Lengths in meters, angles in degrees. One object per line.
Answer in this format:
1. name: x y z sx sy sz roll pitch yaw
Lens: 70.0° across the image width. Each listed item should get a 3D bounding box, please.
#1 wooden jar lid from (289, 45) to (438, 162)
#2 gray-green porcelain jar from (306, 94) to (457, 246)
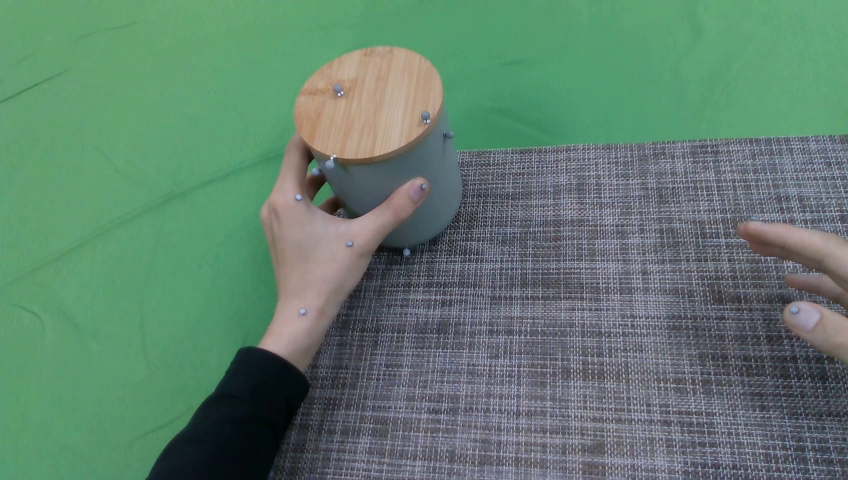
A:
1. wooden jar lid: -0.042 -0.096 0.434 0.108 0.021 0.107 -4 60 7
2. gray-green porcelain jar: -0.030 -0.064 0.485 0.106 0.128 0.105 -5 57 9
